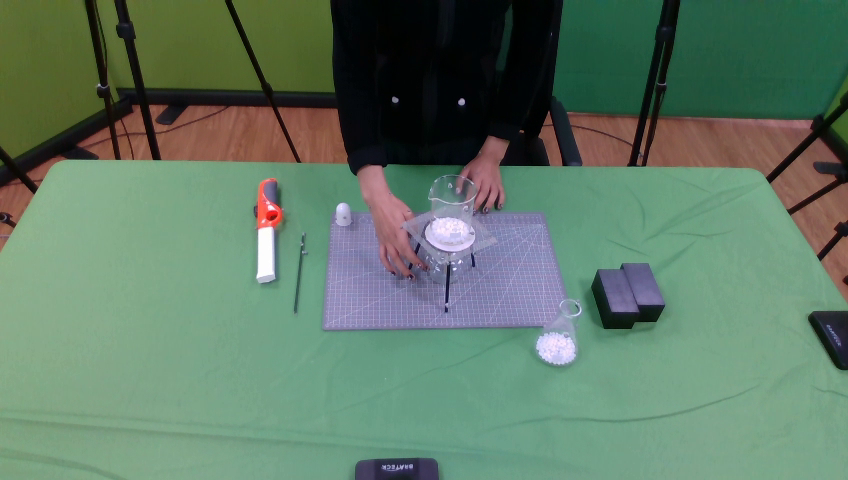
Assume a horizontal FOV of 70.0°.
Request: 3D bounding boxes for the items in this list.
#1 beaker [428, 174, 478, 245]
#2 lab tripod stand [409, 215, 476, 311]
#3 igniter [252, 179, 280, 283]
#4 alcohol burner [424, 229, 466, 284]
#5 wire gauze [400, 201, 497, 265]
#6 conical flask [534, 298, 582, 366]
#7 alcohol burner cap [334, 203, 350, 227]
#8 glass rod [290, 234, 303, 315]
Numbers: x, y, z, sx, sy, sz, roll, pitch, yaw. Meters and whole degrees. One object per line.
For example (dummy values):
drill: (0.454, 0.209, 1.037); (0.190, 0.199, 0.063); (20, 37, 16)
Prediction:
beaker: (0.043, -0.047, 1.009); (0.084, 0.101, 0.073); (-16, 48, -19)
lab tripod stand: (0.041, 0.030, 1.092); (0.148, 0.132, 0.147); (2, 44, -2)
igniter: (-0.313, -0.027, 1.197); (0.057, 0.025, 0.274); (-12, 47, -1)
alcohol burner: (0.039, 0.025, 1.111); (0.078, 0.120, 0.077); (1, 47, -1)
wire gauze: (0.042, -0.013, 1.043); (0.125, 0.011, 0.120); (-24, 49, -24)
conical flask: (0.229, 0.149, 1.005); (0.075, 0.122, 0.075); (2, 46, -2)
alcohol burner cap: (-0.166, -0.053, 1.220); (0.034, 0.048, 0.033); (2, 46, -2)
glass rod: (-0.237, 0.059, 1.133); (0.008, 0.008, 0.198); (0, 46, -4)
